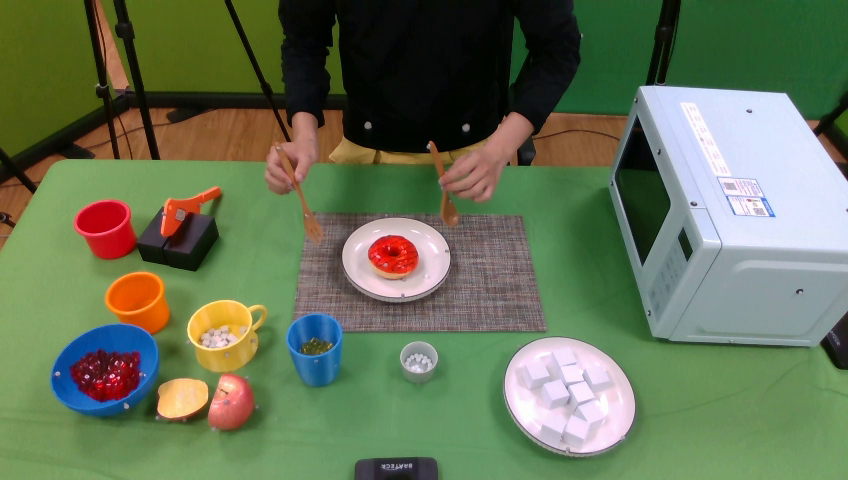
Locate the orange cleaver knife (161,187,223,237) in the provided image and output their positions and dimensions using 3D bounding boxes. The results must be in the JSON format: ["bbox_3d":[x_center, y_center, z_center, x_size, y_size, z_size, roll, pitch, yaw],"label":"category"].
[{"bbox_3d":[-0.448,-0.058,1.181,0.012,0.077,0.211,13,17,6],"label":"orange cleaver knife"}]

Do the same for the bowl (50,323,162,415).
[{"bbox_3d":[-0.472,0.209,0.924,0.151,0.077,0.150,3,45,-2],"label":"bowl"}]

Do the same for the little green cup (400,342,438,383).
[{"bbox_3d":[-0.010,0.202,0.991,0.061,0.039,0.061,2,47,-2],"label":"little green cup"}]

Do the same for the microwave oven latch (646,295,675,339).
[{"bbox_3d":[0.412,0.134,1.061,0.030,0.029,0.078,4,45,1],"label":"microwave oven latch"}]

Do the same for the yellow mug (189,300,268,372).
[{"bbox_3d":[-0.316,0.148,1.002,0.131,0.064,0.099,-32,56,-31],"label":"yellow mug"}]

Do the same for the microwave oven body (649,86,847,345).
[{"bbox_3d":[0.568,-0.053,1.118,0.326,0.261,0.439,2,45,-1],"label":"microwave oven body"}]

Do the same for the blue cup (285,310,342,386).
[{"bbox_3d":[-0.170,0.179,0.958,0.093,0.101,0.092,1,44,-1],"label":"blue cup"}]

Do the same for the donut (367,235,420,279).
[{"bbox_3d":[-0.056,0.032,1.131,0.099,0.048,0.098,3,45,-3],"label":"donut"}]

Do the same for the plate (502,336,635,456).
[{"bbox_3d":[0.225,0.248,0.963,0.208,0.039,0.206,2,46,-2],"label":"plate"}]

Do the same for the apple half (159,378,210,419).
[{"bbox_3d":[-0.366,0.247,0.926,0.081,0.033,0.081,8,31,-5],"label":"apple half"}]

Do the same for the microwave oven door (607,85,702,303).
[{"bbox_3d":[0.423,-0.094,1.140,0.039,0.245,0.353,2,46,-1],"label":"microwave oven door"}]

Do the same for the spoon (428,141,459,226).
[{"bbox_3d":[0.035,-0.096,1.043,0.021,0.195,0.041,20,57,28],"label":"spoon"}]

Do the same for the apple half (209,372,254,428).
[{"bbox_3d":[-0.282,0.243,0.908,0.053,0.075,0.080,7,42,-2],"label":"apple half"}]

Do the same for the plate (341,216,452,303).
[{"bbox_3d":[-0.052,0.039,1.140,0.209,0.038,0.208,2,46,-2],"label":"plate"}]

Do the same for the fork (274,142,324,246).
[{"bbox_3d":[-0.218,-0.078,1.058,0.028,0.208,0.018,-35,39,-25],"label":"fork"}]
